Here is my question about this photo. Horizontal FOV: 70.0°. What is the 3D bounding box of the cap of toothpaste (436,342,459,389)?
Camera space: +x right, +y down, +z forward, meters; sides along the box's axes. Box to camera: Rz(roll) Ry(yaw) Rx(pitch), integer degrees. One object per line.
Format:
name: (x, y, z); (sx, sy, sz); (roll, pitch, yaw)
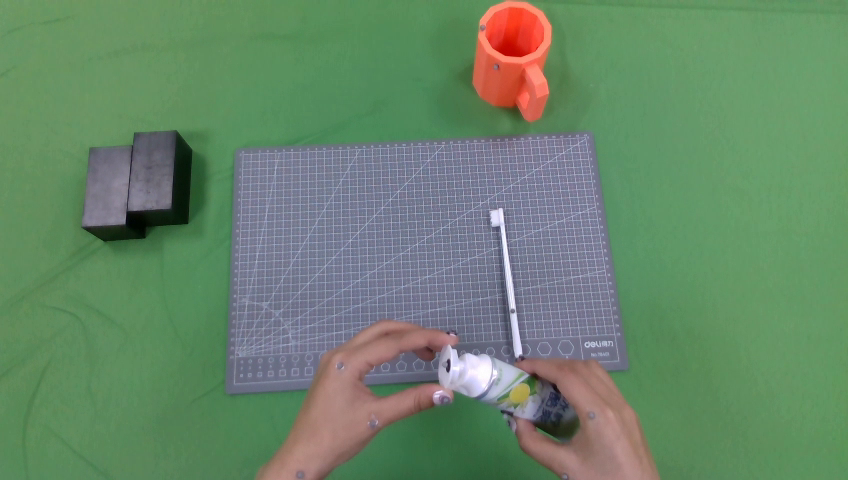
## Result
cap of toothpaste: (0.018, 0.096, 0.462); (0.011, 0.037, 0.037); (6, 72, -10)

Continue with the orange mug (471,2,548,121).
orange mug: (0.111, -0.213, 0.744); (0.083, 0.101, 0.125); (-24, 70, -7)

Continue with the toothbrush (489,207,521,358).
toothbrush: (0.094, 0.046, 0.704); (0.016, 0.014, 0.180); (-7, 73, 2)

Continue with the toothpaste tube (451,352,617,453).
toothpaste tube: (0.088, 0.131, 0.496); (0.166, 0.034, 0.055); (26, 98, -23)
